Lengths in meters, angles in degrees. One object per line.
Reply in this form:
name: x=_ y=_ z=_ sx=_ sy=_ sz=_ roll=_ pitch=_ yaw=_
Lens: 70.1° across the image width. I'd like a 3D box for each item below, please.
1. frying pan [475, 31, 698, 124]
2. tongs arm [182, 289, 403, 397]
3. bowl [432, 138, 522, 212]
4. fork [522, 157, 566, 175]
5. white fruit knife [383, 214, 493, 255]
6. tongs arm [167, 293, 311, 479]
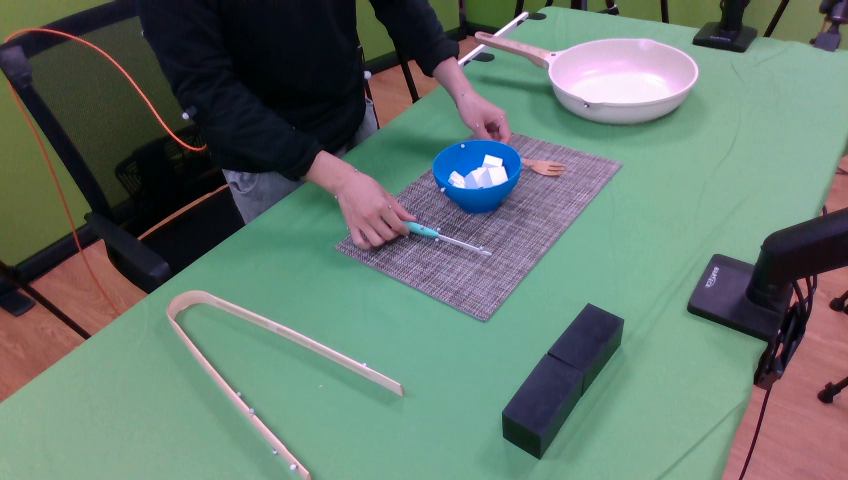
frying pan: x=0.320 y=-0.371 z=1.290 sx=0.485 sy=0.103 sz=0.307 roll=28 pitch=50 yaw=23
tongs arm: x=-0.192 y=0.135 z=0.834 sx=0.385 sy=0.028 sz=0.028 roll=18 pitch=49 yaw=26
bowl: x=0.091 y=-0.100 z=1.021 sx=0.151 sy=0.077 sz=0.150 roll=-4 pitch=41 yaw=4
fork: x=0.164 y=-0.151 z=1.114 sx=0.206 sy=0.019 sz=0.028 roll=18 pitch=85 yaw=27
white fruit knife: x=0.018 y=-0.008 z=0.967 sx=0.206 sy=0.027 sz=0.016 roll=18 pitch=73 yaw=26
tongs arm: x=-0.245 y=0.176 z=0.787 sx=0.381 sy=0.026 sz=0.051 roll=29 pitch=51 yaw=36
